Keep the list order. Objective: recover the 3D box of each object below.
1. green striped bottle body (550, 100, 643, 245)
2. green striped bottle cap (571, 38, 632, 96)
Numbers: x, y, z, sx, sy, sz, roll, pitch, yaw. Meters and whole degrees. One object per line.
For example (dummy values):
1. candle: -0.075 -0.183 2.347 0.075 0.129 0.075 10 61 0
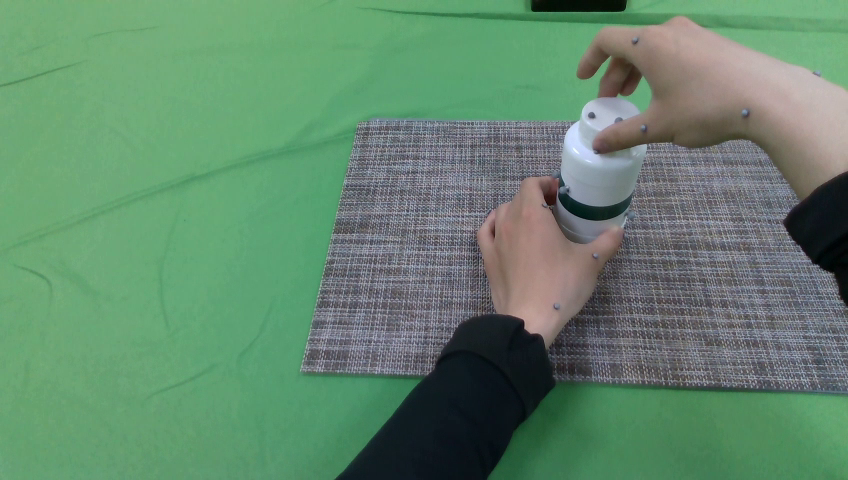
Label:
1. green striped bottle body: 0.141 -0.056 0.499 0.063 0.120 0.062 -2 50 3
2. green striped bottle cap: 0.138 -0.134 0.471 0.044 0.045 0.020 -17 59 -10
